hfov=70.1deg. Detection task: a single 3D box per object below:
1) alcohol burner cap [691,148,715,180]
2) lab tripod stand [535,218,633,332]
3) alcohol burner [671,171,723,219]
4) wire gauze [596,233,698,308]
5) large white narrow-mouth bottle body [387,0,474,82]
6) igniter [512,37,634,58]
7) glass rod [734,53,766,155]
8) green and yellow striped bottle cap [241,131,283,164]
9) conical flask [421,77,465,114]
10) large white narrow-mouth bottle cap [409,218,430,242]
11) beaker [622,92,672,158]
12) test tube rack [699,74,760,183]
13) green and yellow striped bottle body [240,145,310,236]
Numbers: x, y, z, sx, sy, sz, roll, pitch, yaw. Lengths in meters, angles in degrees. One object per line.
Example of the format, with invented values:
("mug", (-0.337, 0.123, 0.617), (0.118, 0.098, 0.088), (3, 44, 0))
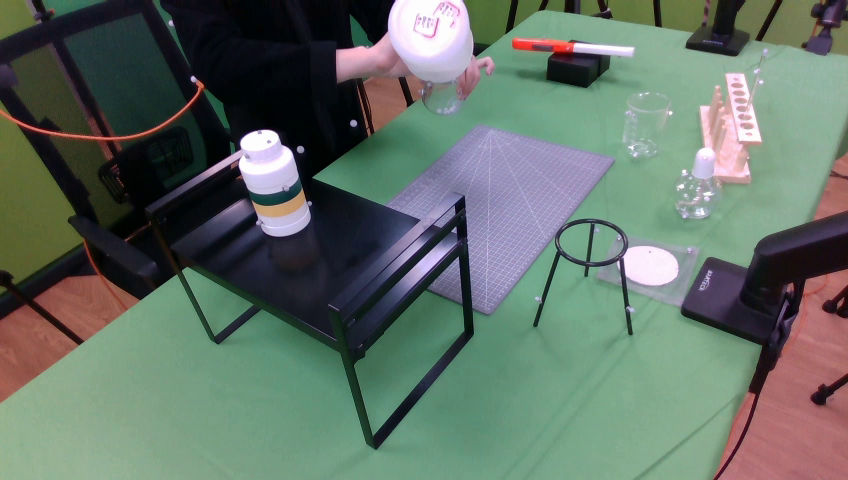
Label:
("alcohol burner cap", (0.432, -0.120, 0.930), (0.034, 0.048, 0.033), (-7, 48, 8))
("lab tripod stand", (0.215, 0.050, 0.803), (0.148, 0.132, 0.147), (-4, 42, 4))
("alcohol burner", (0.434, -0.093, 0.955), (0.078, 0.119, 0.077), (-3, 43, 3))
("wire gauze", (0.331, 0.038, 0.897), (0.124, 0.011, 0.121), (18, 47, 26))
("large white narrow-mouth bottle body", (0.018, -0.272, 0.839), (0.101, 0.101, 0.195), (2, 3, 10))
("igniter", (0.328, -0.433, 1.360), (0.275, 0.025, 0.057), (12, 33, 20))
("glass rod", (0.540, -0.220, 1.007), (0.008, 0.201, 0.008), (-5, 45, 6))
("green and yellow striped bottle cap", (-0.187, -0.107, 0.695), (0.045, 0.020, 0.045), (-3, 39, 3))
("conical flask", (0.032, -0.264, 0.994), (0.075, 0.122, 0.075), (0, 77, 1))
("large white narrow-mouth bottle cap", (-0.008, -0.017, 0.999), (0.038, 0.024, 0.037), (-3, 39, 3))
("beaker", (0.402, -0.210, 1.106), (0.074, 0.101, 0.083), (-8, 40, -2))
("test tube rack", (0.547, -0.208, 1.095), (0.066, 0.085, 0.242), (6, 42, 16))
("green and yellow striped bottle body", (-0.181, -0.068, 0.729), (0.063, 0.120, 0.063), (-4, 40, 4))
